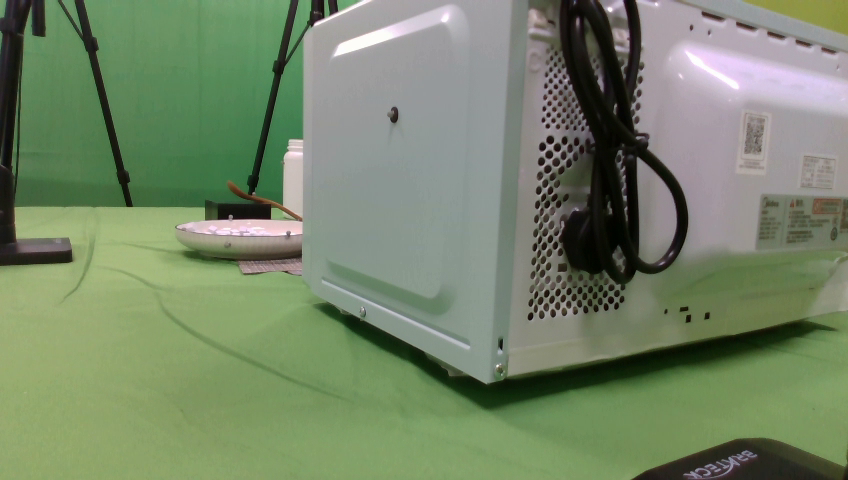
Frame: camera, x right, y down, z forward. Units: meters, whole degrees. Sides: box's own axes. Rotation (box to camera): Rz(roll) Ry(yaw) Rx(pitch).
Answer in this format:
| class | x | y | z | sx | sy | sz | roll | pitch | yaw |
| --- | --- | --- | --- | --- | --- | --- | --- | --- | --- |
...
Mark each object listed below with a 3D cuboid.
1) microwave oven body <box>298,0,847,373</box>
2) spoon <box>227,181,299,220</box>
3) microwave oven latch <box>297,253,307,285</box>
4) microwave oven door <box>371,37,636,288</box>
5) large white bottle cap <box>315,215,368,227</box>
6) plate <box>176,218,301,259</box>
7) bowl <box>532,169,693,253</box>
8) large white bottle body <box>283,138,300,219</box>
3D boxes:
| class | x | y | z | sx | sy | sz | roll | pitch | yaw |
| --- | --- | --- | --- | --- | --- | --- | --- | --- | --- |
| microwave oven body | 0.151 | -0.055 | 0.543 | 0.444 | 0.260 | 0.324 | -1 | 7 | -33 |
| spoon | -0.315 | -0.074 | 1.235 | 0.195 | 0.021 | 0.041 | 24 | -9 | -37 |
| microwave oven latch | -0.082 | 0.027 | 0.583 | 0.079 | 0.029 | 0.030 | -1 | 7 | -33 |
| microwave oven door | 0.109 | -0.080 | 0.686 | 0.358 | 0.243 | 0.039 | -2 | 9 | -33 |
| large white bottle cap | -0.178 | -0.041 | 1.309 | 0.115 | 0.018 | 0.115 | 2 | 6 | 0 |
| plate | -0.248 | -0.003 | 0.877 | 0.209 | 0.038 | 0.209 | 1 | 8 | 0 |
| bowl | 0.181 | -0.030 | 0.596 | 0.151 | 0.077 | 0.151 | 1 | 7 | 0 |
| large white bottle body | -0.265 | -0.144 | 1.423 | 0.131 | 0.184 | 0.130 | 2 | 7 | 0 |
